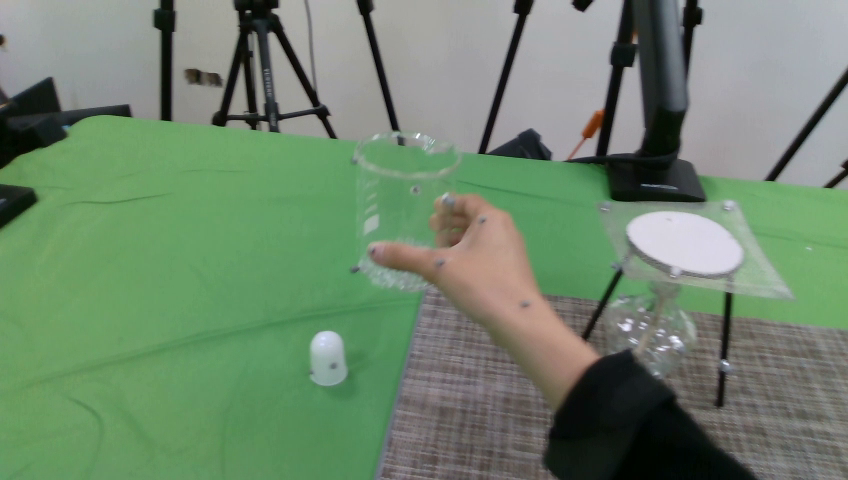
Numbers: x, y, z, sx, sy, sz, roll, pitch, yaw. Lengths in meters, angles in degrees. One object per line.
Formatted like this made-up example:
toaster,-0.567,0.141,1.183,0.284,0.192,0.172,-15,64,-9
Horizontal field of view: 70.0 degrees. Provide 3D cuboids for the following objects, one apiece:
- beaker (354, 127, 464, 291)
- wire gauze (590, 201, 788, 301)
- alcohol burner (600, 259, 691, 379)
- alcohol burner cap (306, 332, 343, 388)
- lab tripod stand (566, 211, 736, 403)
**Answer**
beaker,-0.012,-0.022,0.436,0.073,0.101,0.083,17,33,17
wire gauze,0.203,0.001,0.479,0.125,0.011,0.120,4,36,1
alcohol burner,0.196,0.063,0.526,0.078,0.120,0.077,2,37,-1
alcohol burner cap,-0.087,0.101,0.524,0.034,0.048,0.033,2,35,-1
lab tripod stand,0.205,0.054,0.522,0.148,0.132,0.147,3,35,-2
